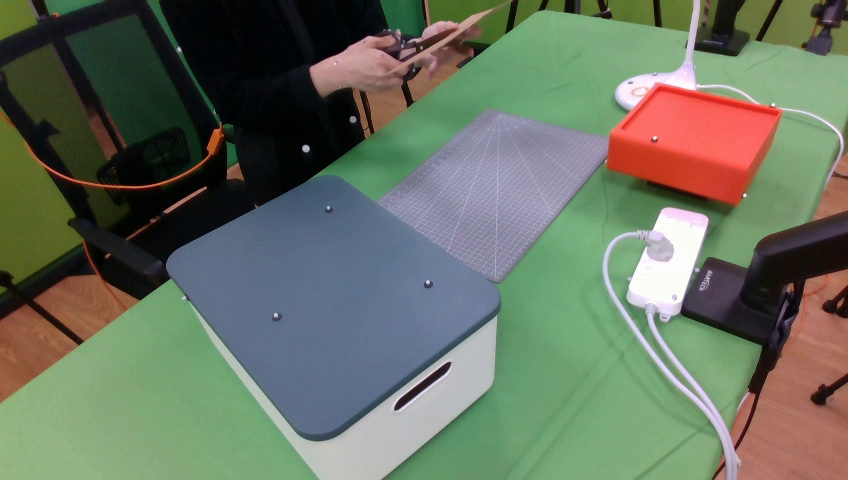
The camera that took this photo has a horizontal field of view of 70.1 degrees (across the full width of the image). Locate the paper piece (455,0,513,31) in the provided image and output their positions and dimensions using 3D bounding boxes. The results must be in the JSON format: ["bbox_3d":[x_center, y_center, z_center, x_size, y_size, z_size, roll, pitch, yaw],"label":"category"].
[{"bbox_3d":[0.091,-0.352,0.952,0.137,0.009,0.136,-11,20,47],"label":"paper piece"}]

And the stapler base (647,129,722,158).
[{"bbox_3d":[0.439,-0.167,1.023,0.131,0.024,0.041,-16,25,-15],"label":"stapler base"}]

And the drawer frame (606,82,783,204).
[{"bbox_3d":[0.441,-0.167,0.995,0.212,0.083,0.202,23,48,30],"label":"drawer frame"}]

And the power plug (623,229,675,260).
[{"bbox_3d":[0.327,0.007,0.878,0.072,0.053,0.035,25,51,33],"label":"power plug"}]

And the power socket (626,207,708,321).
[{"bbox_3d":[0.360,0.026,0.886,0.072,0.033,0.227,16,46,26],"label":"power socket"}]

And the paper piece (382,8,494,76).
[{"bbox_3d":[0.017,-0.282,0.870,0.135,0.004,0.136,-8,29,50],"label":"paper piece"}]

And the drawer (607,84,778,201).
[{"bbox_3d":[0.439,-0.167,0.995,0.210,0.073,0.195,23,48,30],"label":"drawer"}]

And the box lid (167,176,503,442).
[{"bbox_3d":[-0.119,0.047,0.714,0.264,0.015,0.368,-32,47,-27],"label":"box lid"}]

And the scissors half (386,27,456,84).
[{"bbox_3d":[-0.005,-0.298,0.977,0.174,0.040,0.013,-24,17,50],"label":"scissors half"}]

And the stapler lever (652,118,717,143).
[{"bbox_3d":[0.436,-0.192,1.014,0.118,0.040,0.026,-15,25,-16],"label":"stapler lever"}]

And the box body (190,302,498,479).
[{"bbox_3d":[-0.110,0.103,0.761,0.255,0.161,0.361,-33,46,-27],"label":"box body"}]

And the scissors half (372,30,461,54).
[{"bbox_3d":[-0.016,-0.317,0.968,0.174,0.040,0.013,12,47,32],"label":"scissors half"}]

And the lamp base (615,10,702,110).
[{"bbox_3d":[0.484,-0.364,1.211,0.180,0.181,0.159,-15,41,-14],"label":"lamp base"}]
